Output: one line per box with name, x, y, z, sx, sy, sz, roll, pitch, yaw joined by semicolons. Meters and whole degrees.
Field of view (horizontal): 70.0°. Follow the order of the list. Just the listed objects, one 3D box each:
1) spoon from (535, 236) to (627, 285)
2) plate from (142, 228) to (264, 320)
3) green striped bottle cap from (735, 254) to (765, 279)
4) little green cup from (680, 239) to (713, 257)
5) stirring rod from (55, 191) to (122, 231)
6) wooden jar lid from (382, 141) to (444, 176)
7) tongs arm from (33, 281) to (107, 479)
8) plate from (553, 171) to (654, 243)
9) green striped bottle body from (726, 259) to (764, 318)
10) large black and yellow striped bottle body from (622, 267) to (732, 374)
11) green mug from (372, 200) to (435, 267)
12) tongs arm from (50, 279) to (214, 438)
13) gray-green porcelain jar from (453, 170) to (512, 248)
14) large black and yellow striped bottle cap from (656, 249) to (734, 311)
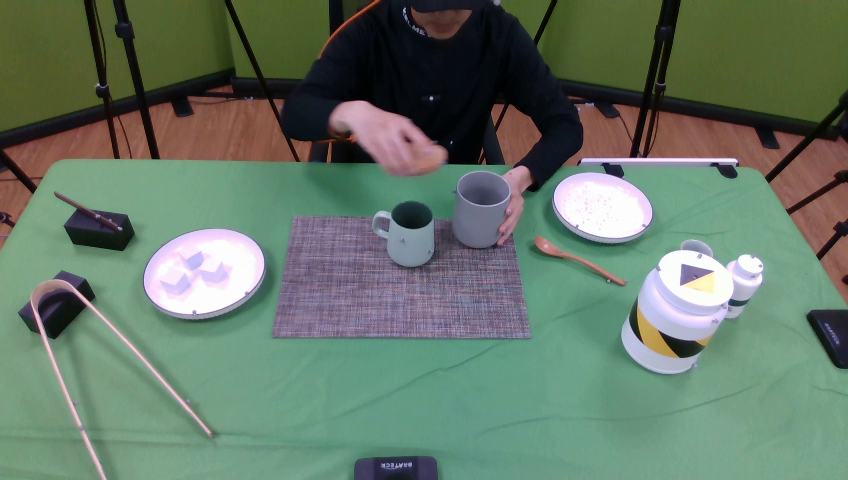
spoon;0.303;0.040;1.178;0.193;0.022;0.041;25;33;20
plate;-0.394;0.064;1.095;0.208;0.039;0.206;2;46;-2
green striped bottle cap;0.566;0.046;1.051;0.044;0.020;0.044;0;45;0
little green cup;0.530;0.033;1.190;0.061;0.039;0.061;2;47;-2
stirring rod;-0.632;-0.055;1.138;0.175;0.014;0.006;24;50;19
wooden jar lid;-0.020;-0.141;1.054;0.108;0.021;0.108;0;34;0
tongs arm;-0.517;0.214;0.910;0.051;0.026;0.383;-28;63;-27
plate;0.373;-0.066;1.275;0.209;0.038;0.208;2;46;-2
green striped bottle body;0.563;0.081;1.089;0.063;0.120;0.063;2;46;-2
large black and yellow striped bottle body;0.415;0.119;0.997;0.131;0.185;0.130;2;46;-2
green mug;-0.040;-0.015;1.146;0.125;0.105;0.092;16;48;12
tongs arm;-0.459;0.178;0.949;0.386;0.028;0.028;37;60;17
gray-green porcelain jar;0.110;-0.056;1.179;0.106;0.127;0.105;2;47;-2
large black and yellow striped bottle cap;0.419;0.061;0.938;0.115;0.019;0.114;2;47;-2
